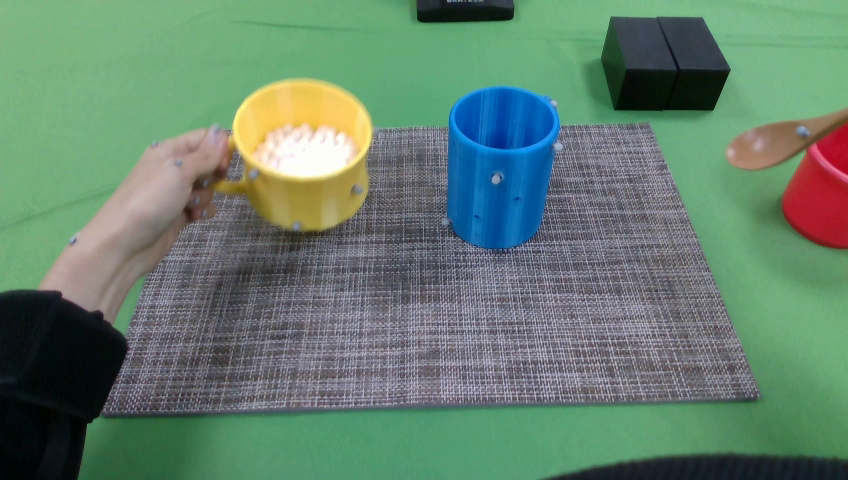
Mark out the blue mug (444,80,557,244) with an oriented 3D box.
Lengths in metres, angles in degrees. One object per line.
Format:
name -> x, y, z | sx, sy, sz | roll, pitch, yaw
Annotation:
blue mug -> 0.069, -0.069, 0.494 | 0.081, 0.107, 0.116 | 35, 58, 26

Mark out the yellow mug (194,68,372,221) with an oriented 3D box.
yellow mug -> -0.105, -0.069, 0.458 | 0.131, 0.064, 0.099 | -13, 61, -16

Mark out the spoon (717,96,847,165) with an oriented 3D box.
spoon -> 0.262, -0.082, 0.357 | 0.022, 0.193, 0.041 | 35, 67, -15
